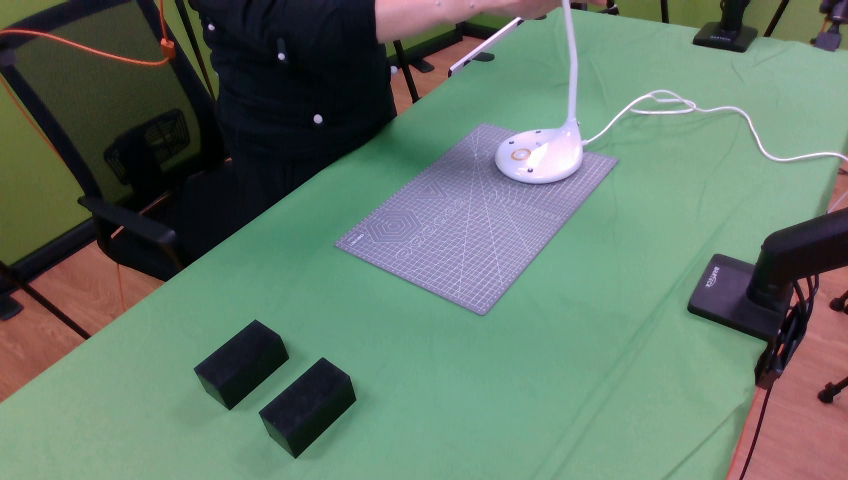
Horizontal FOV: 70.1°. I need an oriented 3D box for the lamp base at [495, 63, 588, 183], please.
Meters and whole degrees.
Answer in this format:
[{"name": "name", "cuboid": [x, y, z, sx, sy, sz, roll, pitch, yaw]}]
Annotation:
[{"name": "lamp base", "cuboid": [0.215, -0.217, 1.067, 0.180, 0.181, 0.159, -20, 42, -18]}]
